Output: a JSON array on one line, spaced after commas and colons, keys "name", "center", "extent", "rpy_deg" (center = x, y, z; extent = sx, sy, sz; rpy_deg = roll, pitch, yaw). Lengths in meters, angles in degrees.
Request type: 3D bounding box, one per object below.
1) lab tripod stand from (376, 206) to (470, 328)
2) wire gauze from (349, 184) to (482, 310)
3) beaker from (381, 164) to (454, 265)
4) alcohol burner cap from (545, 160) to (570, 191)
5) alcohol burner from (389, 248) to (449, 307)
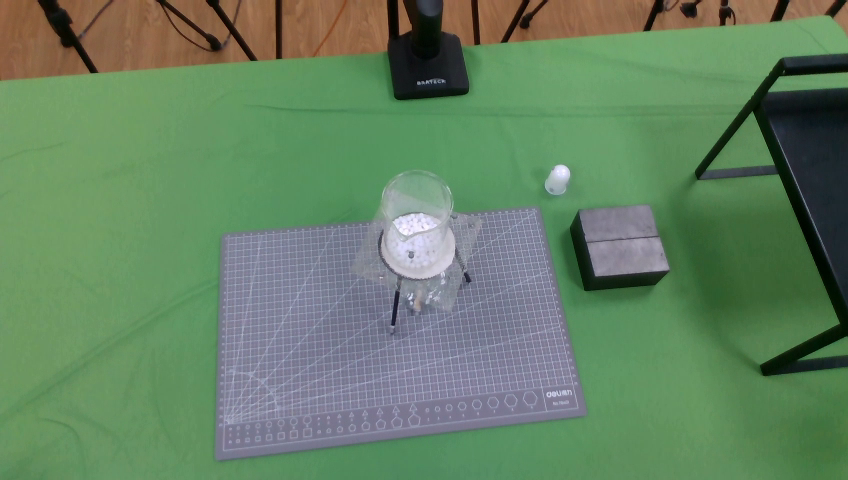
[{"name": "lab tripod stand", "center": [-0.009, 0.026, 0.756], "extent": [0.148, 0.132, 0.147], "rpy_deg": [2, 63, -3]}, {"name": "wire gauze", "center": [-0.008, 0.003, 0.694], "extent": [0.125, 0.011, 0.121], "rpy_deg": [22, 67, 5]}, {"name": "beaker", "center": [-0.010, -0.020, 0.651], "extent": [0.074, 0.101, 0.083], "rpy_deg": [17, 64, 6]}, {"name": "alcohol burner cap", "center": [0.195, -0.095, 0.877], "extent": [0.034, 0.048, 0.033], "rpy_deg": [1, 64, -1]}, {"name": "alcohol burner", "center": [-0.005, 0.040, 0.761], "extent": [0.078, 0.120, 0.077], "rpy_deg": [2, 66, -3]}]
